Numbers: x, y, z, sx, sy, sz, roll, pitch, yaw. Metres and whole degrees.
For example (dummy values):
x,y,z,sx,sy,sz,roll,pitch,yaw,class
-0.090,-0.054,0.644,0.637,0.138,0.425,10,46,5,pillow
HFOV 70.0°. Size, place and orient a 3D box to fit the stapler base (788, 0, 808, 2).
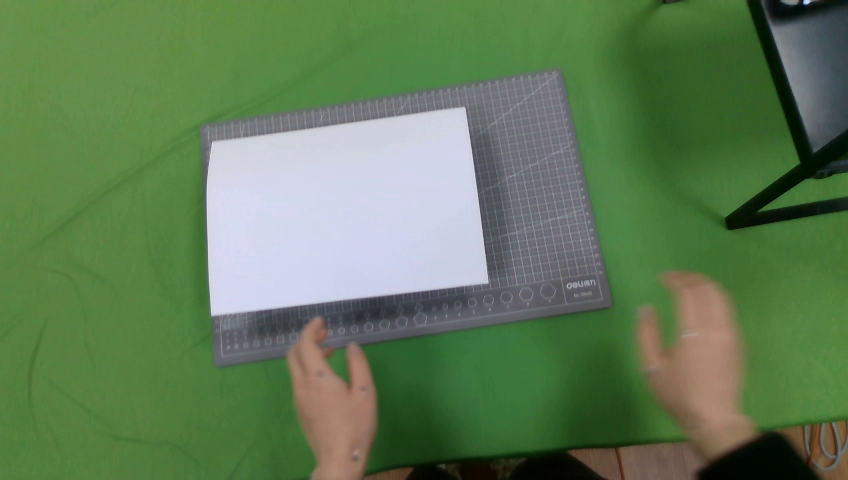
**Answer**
x,y,z,sx,sy,sz,roll,pitch,yaw,class
0.387,-0.246,0.541,0.130,0.024,0.041,-10,79,-1,stapler base
